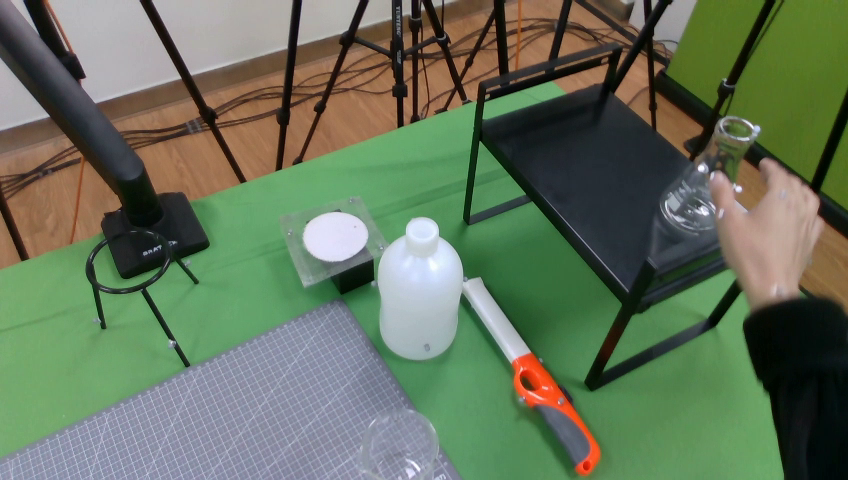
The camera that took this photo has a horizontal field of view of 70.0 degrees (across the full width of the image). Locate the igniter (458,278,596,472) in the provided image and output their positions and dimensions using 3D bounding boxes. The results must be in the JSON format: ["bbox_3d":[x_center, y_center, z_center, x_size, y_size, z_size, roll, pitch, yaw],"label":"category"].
[{"bbox_3d":[0.120,0.153,0.736,0.057,0.025,0.273,-14,51,-27],"label":"igniter"}]

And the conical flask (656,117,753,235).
[{"bbox_3d":[0.298,-0.069,0.635,0.075,0.123,0.074,1,50,-1],"label":"conical flask"}]

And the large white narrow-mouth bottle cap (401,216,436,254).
[{"bbox_3d":[-0.006,-0.005,0.637,0.038,0.024,0.037,2,50,-2],"label":"large white narrow-mouth bottle cap"}]

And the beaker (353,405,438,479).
[{"bbox_3d":[-0.029,0.226,0.614,0.084,0.101,0.073,-20,54,-18],"label":"beaker"}]

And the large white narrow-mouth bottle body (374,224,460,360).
[{"bbox_3d":[-0.009,0.052,0.702,0.102,0.196,0.101,1,50,-1],"label":"large white narrow-mouth bottle body"}]

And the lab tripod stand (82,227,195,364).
[{"bbox_3d":[-0.327,0.062,0.714,0.148,0.132,0.147,3,50,-3],"label":"lab tripod stand"}]

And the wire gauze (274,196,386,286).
[{"bbox_3d":[-0.124,-0.005,0.801,0.122,0.011,0.123,-18,53,-18],"label":"wire gauze"}]
